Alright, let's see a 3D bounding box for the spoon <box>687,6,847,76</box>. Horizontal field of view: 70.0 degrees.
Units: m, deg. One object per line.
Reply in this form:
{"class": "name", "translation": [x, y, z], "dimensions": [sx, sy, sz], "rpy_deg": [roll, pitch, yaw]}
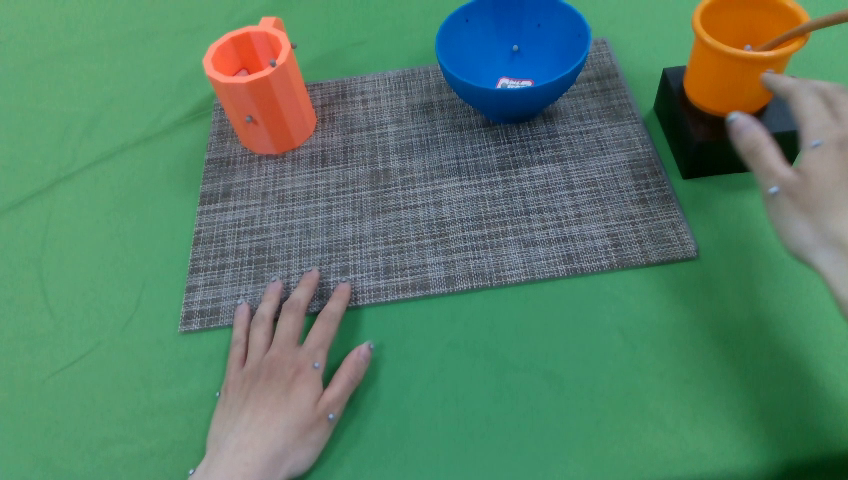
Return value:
{"class": "spoon", "translation": [0.296, -0.164, 0.483], "dimensions": [0.041, 0.193, 0.022], "rpy_deg": [-39, 103, -22]}

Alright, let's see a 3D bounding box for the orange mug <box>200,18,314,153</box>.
{"class": "orange mug", "translation": [-0.166, -0.168, 0.630], "dimensions": [0.083, 0.102, 0.125], "rpy_deg": [2, 60, 9]}

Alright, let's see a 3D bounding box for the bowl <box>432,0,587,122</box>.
{"class": "bowl", "translation": [0.086, -0.174, 0.616], "dimensions": [0.151, 0.077, 0.150], "rpy_deg": [-3, 55, 5]}
